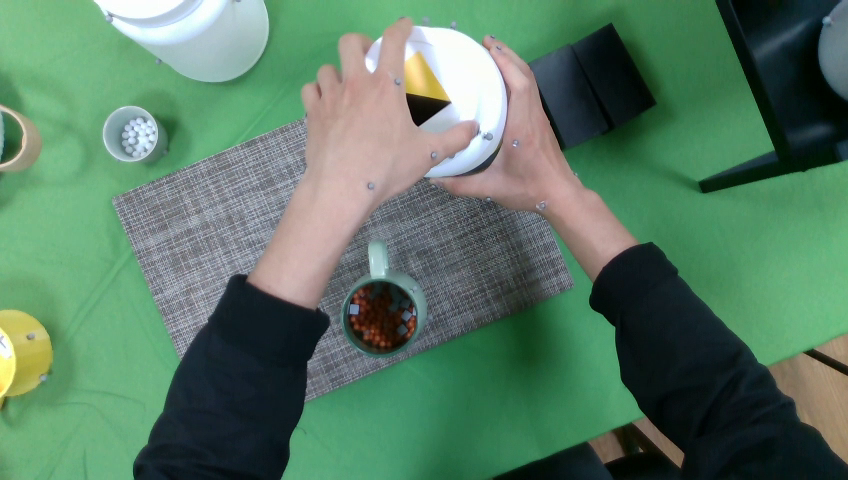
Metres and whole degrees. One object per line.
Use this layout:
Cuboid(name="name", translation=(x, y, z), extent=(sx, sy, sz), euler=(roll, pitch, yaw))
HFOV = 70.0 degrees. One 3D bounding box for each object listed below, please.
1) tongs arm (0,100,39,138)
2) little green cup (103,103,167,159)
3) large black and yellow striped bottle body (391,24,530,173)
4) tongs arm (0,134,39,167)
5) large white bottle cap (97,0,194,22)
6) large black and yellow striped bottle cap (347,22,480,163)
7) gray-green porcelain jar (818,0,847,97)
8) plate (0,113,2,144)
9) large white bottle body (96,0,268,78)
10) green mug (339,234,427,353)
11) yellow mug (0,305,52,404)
Cuboid(name="tongs arm", translation=(-0.594, -0.187, 0.649), extent=(0.387, 0.028, 0.028), euler=(20, 84, 2))
Cuboid(name="little green cup", translation=(-0.321, -0.120, 0.680), extent=(0.061, 0.038, 0.061), euler=(0, 91, 0))
Cuboid(name="large black and yellow striped bottle body", translation=(0.021, -0.131, 0.582), extent=(0.130, 0.184, 0.131), euler=(3, 98, 21))
Cuboid(name="tongs arm", translation=(-0.610, -0.105, 0.647), extent=(0.385, 0.026, 0.050), euler=(6, 87, 2))
Cuboid(name="large white bottle cap", translation=(-0.244, -0.248, 0.522), extent=(0.115, 0.018, 0.115), euler=(0, 91, 0))
Cuboid(name="large black and yellow striped bottle cap", translation=(-0.010, -0.121, 0.504), extent=(0.114, 0.019, 0.115), euler=(2, 98, 19))
Cuboid(name="gray-green porcelain jar", translation=(0.382, -0.165, 0.461), extent=(0.106, 0.126, 0.106), euler=(0, 89, 0))
Cuboid(name="plate", translation=(-0.573, -0.126, 0.679), extent=(0.208, 0.039, 0.207), euler=(0, 91, 0))
Cuboid(name="large white bottle body", translation=(-0.243, -0.248, 0.606), extent=(0.130, 0.184, 0.130), euler=(0, 90, 1))
Cuboid(name="green mug", translation=(-0.046, 0.056, 0.647), extent=(0.092, 0.105, 0.125), euler=(-6, 90, 1))
Cuboid(name="yellow mug", translation=(-0.482, 0.140, 0.668), extent=(0.100, 0.064, 0.131), euler=(10, 91, 0))
